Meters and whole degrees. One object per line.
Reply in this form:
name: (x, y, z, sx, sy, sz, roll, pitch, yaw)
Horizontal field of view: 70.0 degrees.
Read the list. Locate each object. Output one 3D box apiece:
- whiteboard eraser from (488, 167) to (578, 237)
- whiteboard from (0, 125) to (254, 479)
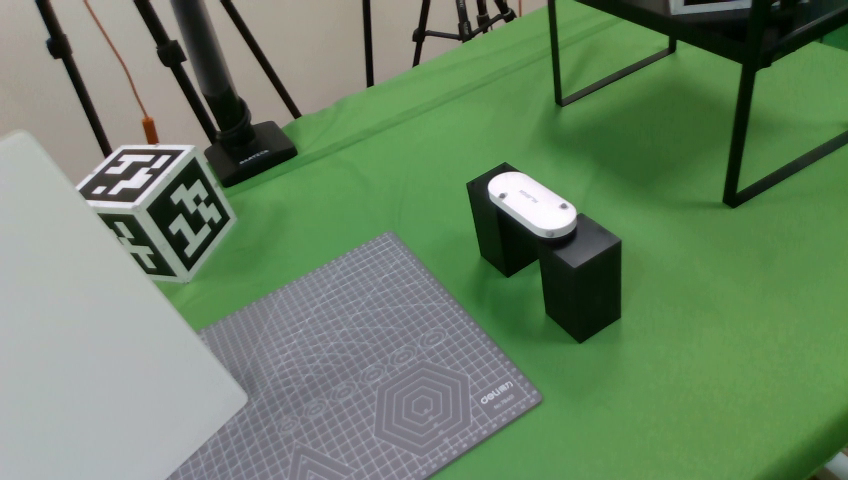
whiteboard eraser: (0.096, -0.037, 0.547, 0.041, 0.019, 0.100, -29, 44, -17)
whiteboard: (-0.341, 0.093, 0.520, 0.217, 0.308, 0.143, -44, 29, -27)
